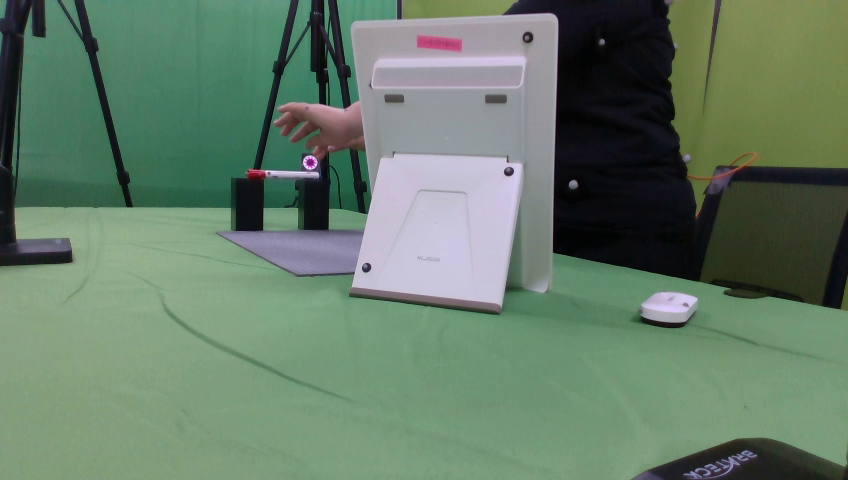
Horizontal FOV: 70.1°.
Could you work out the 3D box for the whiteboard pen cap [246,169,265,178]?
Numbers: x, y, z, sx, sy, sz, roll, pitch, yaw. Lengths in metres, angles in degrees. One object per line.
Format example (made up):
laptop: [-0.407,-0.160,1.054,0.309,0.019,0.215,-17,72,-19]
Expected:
whiteboard pen cap: [-0.318,-0.125,1.143,0.032,0.017,0.017,0,7,-35]

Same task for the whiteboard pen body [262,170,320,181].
whiteboard pen body: [-0.269,-0.127,1.179,0.141,0.017,0.017,0,7,-36]

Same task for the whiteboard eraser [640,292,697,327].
whiteboard eraser: [0.240,0.066,0.590,0.041,0.019,0.102,6,7,31]

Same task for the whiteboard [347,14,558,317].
whiteboard: [0.012,-0.056,0.608,0.216,0.305,0.144,5,27,20]
